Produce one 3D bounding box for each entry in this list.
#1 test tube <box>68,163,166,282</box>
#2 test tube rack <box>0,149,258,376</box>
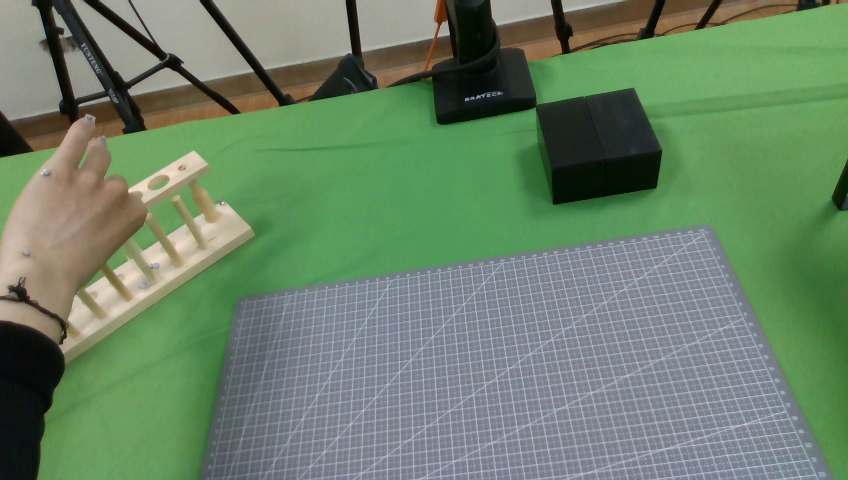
[{"bbox_3d":[-0.281,-0.012,0.561,0.017,0.152,0.017,-6,47,7],"label":"test tube"},{"bbox_3d":[-0.297,0.017,0.601,0.242,0.086,0.066,-37,51,-19],"label":"test tube rack"}]
